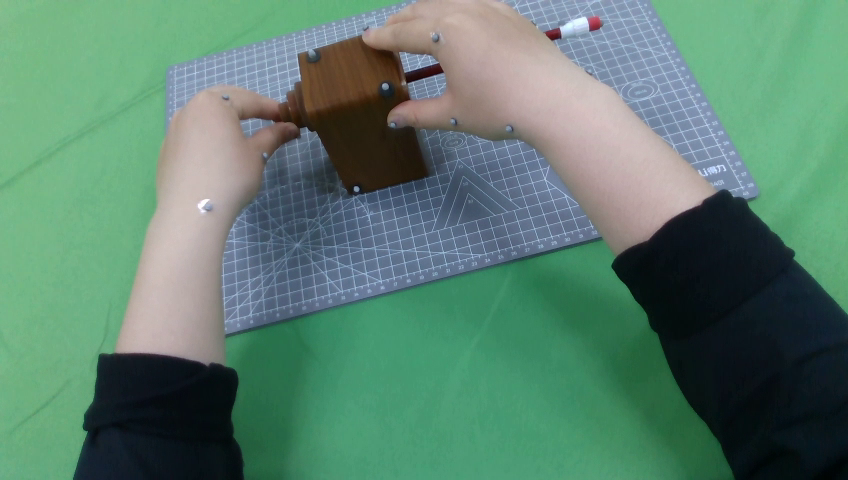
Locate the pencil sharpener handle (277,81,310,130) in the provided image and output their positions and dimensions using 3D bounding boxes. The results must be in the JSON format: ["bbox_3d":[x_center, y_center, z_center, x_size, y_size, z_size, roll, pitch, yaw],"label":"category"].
[{"bbox_3d":[-0.099,-0.093,0.447,0.030,0.067,0.036,-16,96,3],"label":"pencil sharpener handle"}]

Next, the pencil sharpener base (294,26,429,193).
[{"bbox_3d":[-0.045,-0.092,0.454,0.077,0.108,0.061,-16,60,3],"label":"pencil sharpener base"}]

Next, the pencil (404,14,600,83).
[{"bbox_3d":[0.029,-0.127,0.426,0.194,0.012,0.012,-16,60,3],"label":"pencil"}]
